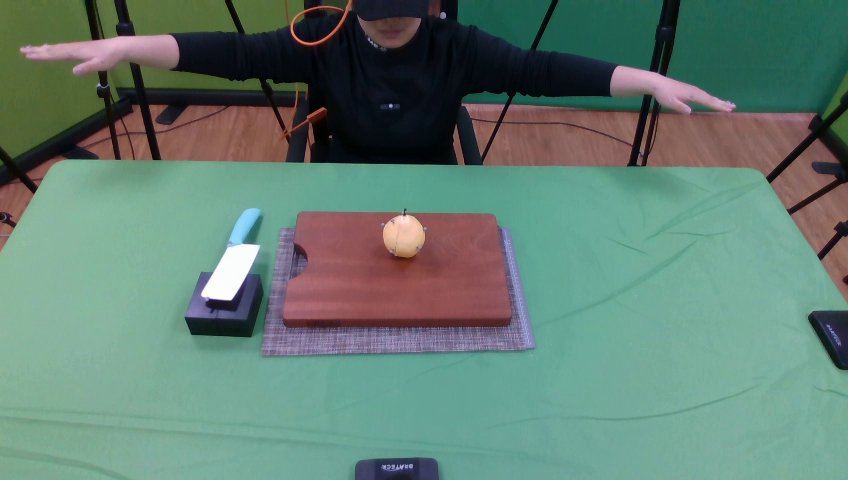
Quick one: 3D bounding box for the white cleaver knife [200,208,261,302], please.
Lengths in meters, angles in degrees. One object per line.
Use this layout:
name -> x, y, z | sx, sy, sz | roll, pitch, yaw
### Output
white cleaver knife -> -0.338, 0.024, 1.116 | 0.066, 0.021, 0.285 | 7, 35, -3

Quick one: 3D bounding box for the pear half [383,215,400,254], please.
pear half -> -0.061, -0.013, 1.119 | 0.031, 0.088, 0.070 | 0, 54, -4

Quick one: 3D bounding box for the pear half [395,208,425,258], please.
pear half -> -0.025, -0.018, 1.113 | 0.056, 0.110, 0.076 | 1, 50, -4
